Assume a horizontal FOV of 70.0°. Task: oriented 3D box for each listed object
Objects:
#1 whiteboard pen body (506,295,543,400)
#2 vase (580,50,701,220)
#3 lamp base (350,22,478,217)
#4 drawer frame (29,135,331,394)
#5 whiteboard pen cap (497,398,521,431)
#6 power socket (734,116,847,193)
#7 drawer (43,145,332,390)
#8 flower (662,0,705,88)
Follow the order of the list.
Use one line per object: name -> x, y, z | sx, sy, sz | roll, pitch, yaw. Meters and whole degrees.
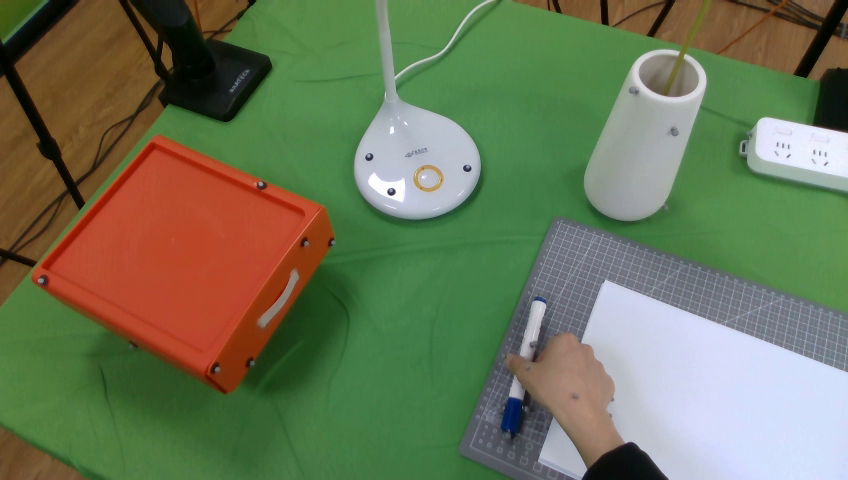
whiteboard pen body -> 0.103, 0.122, 0.629 | 0.017, 0.017, 0.140 | 14, 64, 11
vase -> 0.229, -0.107, 0.654 | 0.098, 0.202, 0.097 | -2, 59, 4
lamp base -> -0.024, -0.144, 0.699 | 0.161, 0.182, 0.177 | -29, 60, -13
drawer frame -> -0.240, 0.019, 0.626 | 0.213, 0.083, 0.201 | 23, 65, 13
whiteboard pen cap -> 0.086, 0.172, 0.605 | 0.018, 0.018, 0.033 | 16, 62, 12
power socket -> 0.497, -0.097, 0.730 | 0.226, 0.033, 0.072 | 15, 63, 11
drawer -> -0.235, 0.019, 0.623 | 0.211, 0.074, 0.193 | 23, 65, 15
flower -> 0.238, -0.160, 0.589 | 0.038, 0.364, 0.043 | 9, 43, 1
